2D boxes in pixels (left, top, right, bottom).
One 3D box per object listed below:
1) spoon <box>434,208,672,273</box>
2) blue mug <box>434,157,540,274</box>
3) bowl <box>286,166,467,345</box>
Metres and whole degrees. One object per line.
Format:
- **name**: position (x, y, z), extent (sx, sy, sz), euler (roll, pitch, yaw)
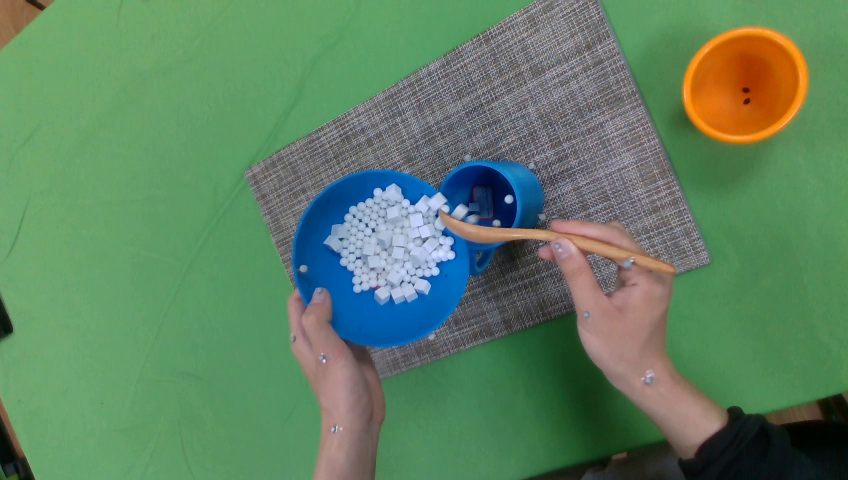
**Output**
- **spoon**: position (0.087, -0.002, 0.456), extent (0.192, 0.042, 0.021), euler (10, 77, 34)
- **blue mug**: position (0.059, -0.023, 0.593), extent (0.082, 0.106, 0.117), euler (17, 103, 18)
- **bowl**: position (-0.045, 0.017, 0.535), extent (0.152, 0.077, 0.151), euler (2, 81, -12)
